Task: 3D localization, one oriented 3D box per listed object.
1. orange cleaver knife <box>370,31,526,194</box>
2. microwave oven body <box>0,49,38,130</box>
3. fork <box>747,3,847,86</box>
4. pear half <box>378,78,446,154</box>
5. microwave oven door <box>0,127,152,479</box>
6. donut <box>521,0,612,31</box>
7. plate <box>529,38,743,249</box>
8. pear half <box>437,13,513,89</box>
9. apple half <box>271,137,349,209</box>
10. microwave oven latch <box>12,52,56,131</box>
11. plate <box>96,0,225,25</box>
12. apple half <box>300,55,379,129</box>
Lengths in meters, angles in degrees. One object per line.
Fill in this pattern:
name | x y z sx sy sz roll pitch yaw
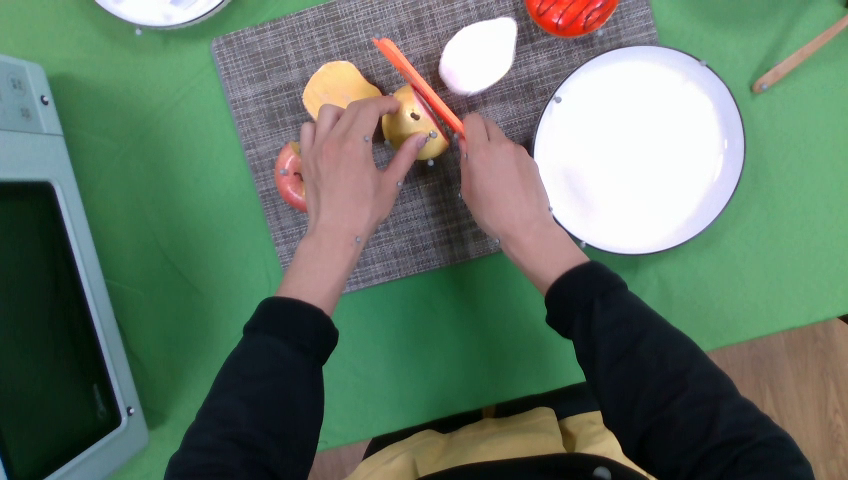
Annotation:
orange cleaver knife | 0.023 -0.126 0.597 0.012 0.077 0.212 -44 103 5
microwave oven body | -0.528 0.061 0.576 0.326 0.259 0.442 -13 97 5
fork | 0.398 -0.220 0.568 0.028 0.018 0.207 43 118 -9
pear half | -0.018 -0.116 0.594 0.056 0.110 0.076 -40 90 11
microwave oven door | -0.377 0.071 0.562 0.039 0.243 0.356 -13 96 5
donut | 0.141 -0.257 0.598 0.099 0.048 0.099 1 99 6
plate | 0.211 -0.096 0.618 0.209 0.038 0.209 0 97 4
pear half | 0.056 -0.190 0.618 0.088 0.031 0.070 -43 80 1
apple half | -0.123 -0.062 0.627 0.081 0.074 0.053 38 102 -5
microwave oven latch | -0.418 -0.154 0.637 0.030 0.029 0.079 -12 97 5
plate | -0.269 -0.327 0.623 0.207 0.039 0.208 0 97 4
apple half | -0.090 -0.147 0.630 0.081 0.033 0.081 2 77 -9
